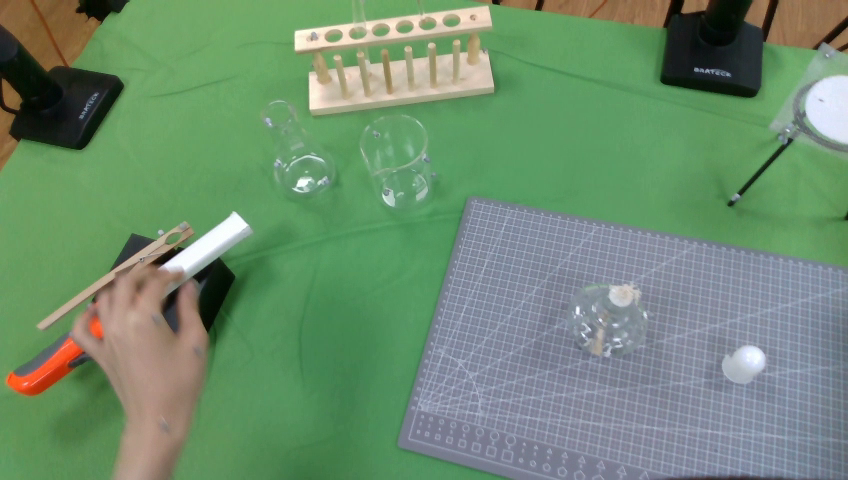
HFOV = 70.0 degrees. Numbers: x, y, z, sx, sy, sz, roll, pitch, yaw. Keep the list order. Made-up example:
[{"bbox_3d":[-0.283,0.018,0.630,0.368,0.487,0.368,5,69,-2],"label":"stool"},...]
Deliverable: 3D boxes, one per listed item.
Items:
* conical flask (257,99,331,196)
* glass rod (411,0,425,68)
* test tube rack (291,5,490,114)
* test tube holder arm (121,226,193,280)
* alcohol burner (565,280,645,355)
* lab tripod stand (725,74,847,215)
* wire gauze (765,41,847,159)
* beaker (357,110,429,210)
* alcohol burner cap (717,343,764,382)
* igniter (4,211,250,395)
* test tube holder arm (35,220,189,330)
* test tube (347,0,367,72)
[{"bbox_3d":[-0.156,-0.111,0.704,0.075,0.123,0.074,-2,62,4],"label":"conical flask"},{"bbox_3d":[-0.013,-0.285,0.727,0.008,0.202,0.008,-5,55,7],"label":"glass rod"},{"bbox_3d":[-0.039,-0.229,0.775,0.242,0.086,0.066,-7,63,1],"label":"test tube rack"},{"bbox_3d":[-0.290,0.014,0.655,0.088,0.015,0.010,-37,96,-13],"label":"test tube holder arm"},{"bbox_3d":[0.179,0.069,0.588,0.078,0.120,0.077,-1,62,2],"label":"alcohol burner"},{"bbox_3d":[0.412,-0.097,0.645,0.148,0.132,0.147,-1,62,2],"label":"lab tripod stand"},{"bbox_3d":[0.414,-0.128,0.584,0.121,0.011,0.125,33,71,17],"label":"wire gauze"},{"bbox_3d":[-0.033,-0.084,0.694,0.073,0.101,0.083,26,69,17],"label":"beaker"},{"bbox_3d":[0.312,0.117,0.593,0.034,0.048,0.033,-2,63,3],"label":"alcohol burner cap"},{"bbox_3d":[-0.302,0.063,0.628,0.276,0.025,0.056,-40,57,-16],"label":"igniter"},{"bbox_3d":[-0.328,0.036,0.644,0.178,0.015,0.013,-37,96,-13],"label":"test tube holder arm"},{"bbox_3d":[-0.082,-0.261,0.739,0.017,0.151,0.017,0,61,0],"label":"test tube"}]
